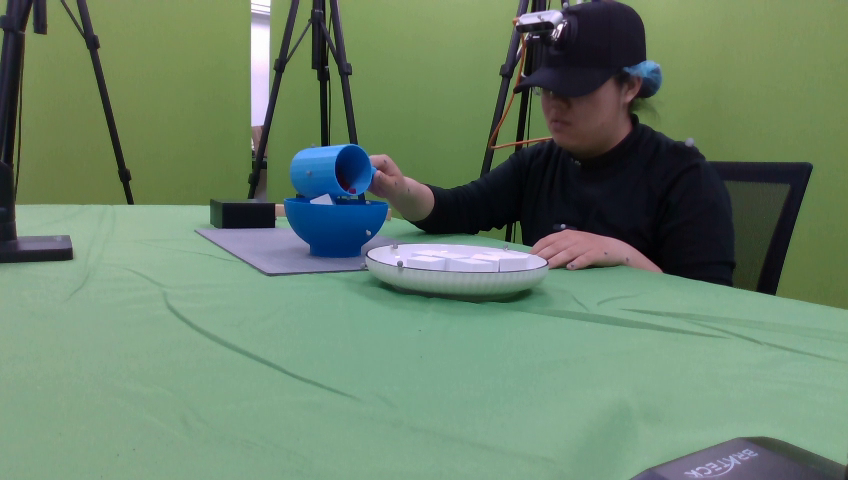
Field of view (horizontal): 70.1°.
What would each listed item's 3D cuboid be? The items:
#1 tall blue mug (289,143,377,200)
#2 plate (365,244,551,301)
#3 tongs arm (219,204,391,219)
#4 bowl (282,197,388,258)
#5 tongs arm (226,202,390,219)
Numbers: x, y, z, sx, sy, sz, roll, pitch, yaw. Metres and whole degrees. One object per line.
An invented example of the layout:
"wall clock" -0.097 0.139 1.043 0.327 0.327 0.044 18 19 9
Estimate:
"tall blue mug" -0.133 -0.112 0.929 0.107 0.078 0.107 2 32 43
"plate" 0.038 0.036 0.685 0.209 0.038 0.209 2 7 0
"tongs arm" -0.258 -0.064 1.367 0.386 0.026 0.050 1 3 -17
"bowl" -0.127 -0.018 0.868 0.151 0.077 0.151 2 7 0
"tongs arm" -0.275 -0.071 1.446 0.388 0.027 0.028 2 -1 -4
